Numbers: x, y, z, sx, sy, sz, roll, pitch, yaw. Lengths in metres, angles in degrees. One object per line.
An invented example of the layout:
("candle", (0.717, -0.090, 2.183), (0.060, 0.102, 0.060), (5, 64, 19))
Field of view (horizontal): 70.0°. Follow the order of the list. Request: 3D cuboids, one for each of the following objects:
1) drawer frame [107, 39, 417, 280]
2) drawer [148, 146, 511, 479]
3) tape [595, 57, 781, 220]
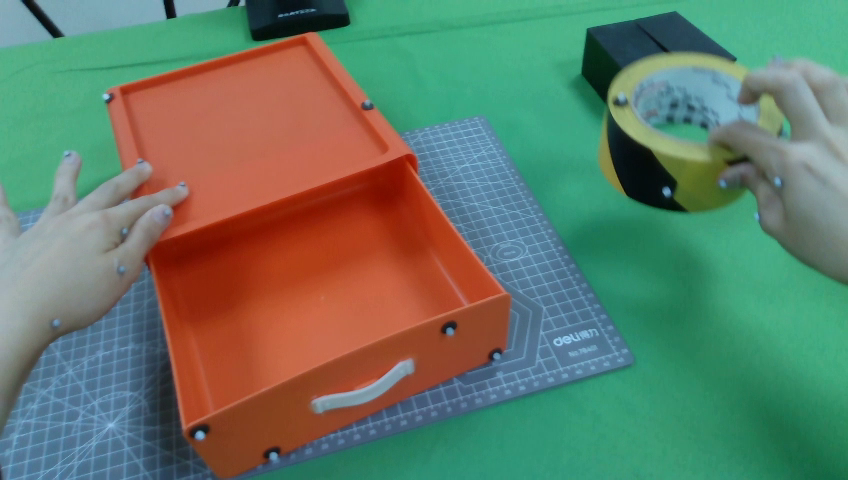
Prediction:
("drawer frame", (-0.138, -0.065, 0.507), (0.202, 0.083, 0.211), (-23, 49, -16))
("drawer", (-0.076, 0.025, 0.419), (0.195, 0.074, 0.209), (-21, 49, -15))
("tape", (0.178, -0.074, 0.421), (0.117, 0.053, 0.115), (-2, 52, 3))
